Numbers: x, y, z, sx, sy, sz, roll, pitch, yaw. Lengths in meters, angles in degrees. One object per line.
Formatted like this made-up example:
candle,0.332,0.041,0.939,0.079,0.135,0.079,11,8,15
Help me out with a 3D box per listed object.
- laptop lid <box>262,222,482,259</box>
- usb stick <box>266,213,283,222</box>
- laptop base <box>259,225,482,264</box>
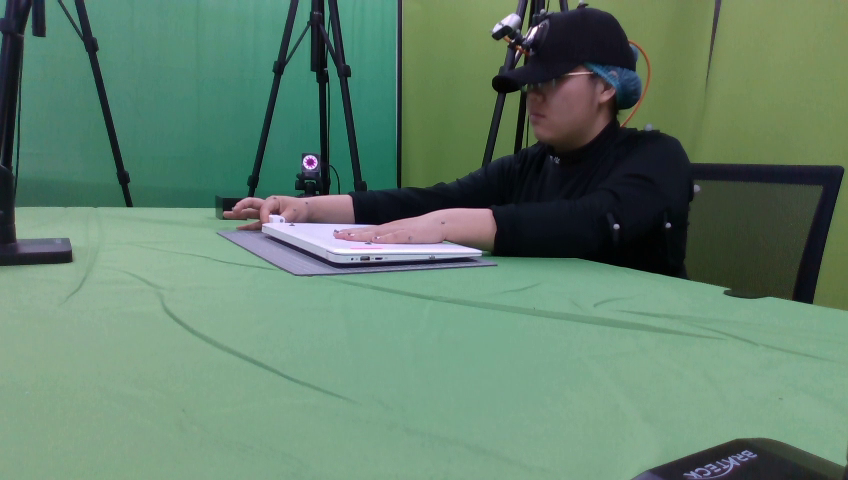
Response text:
laptop lid,-0.098,-0.003,0.965,0.243,0.013,0.355,2,7,-29
usb stick,-0.267,-0.031,1.089,0.021,0.027,0.059,-7,17,-27
laptop base,-0.101,0.007,0.965,0.237,0.023,0.352,3,6,-31
